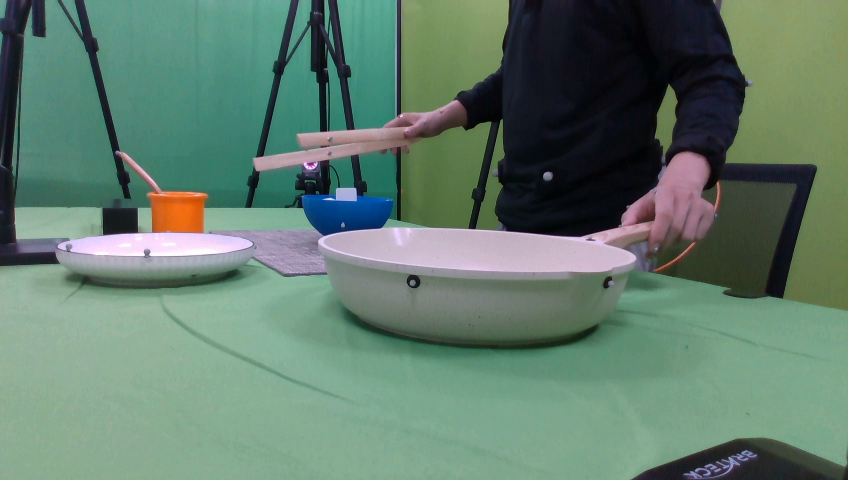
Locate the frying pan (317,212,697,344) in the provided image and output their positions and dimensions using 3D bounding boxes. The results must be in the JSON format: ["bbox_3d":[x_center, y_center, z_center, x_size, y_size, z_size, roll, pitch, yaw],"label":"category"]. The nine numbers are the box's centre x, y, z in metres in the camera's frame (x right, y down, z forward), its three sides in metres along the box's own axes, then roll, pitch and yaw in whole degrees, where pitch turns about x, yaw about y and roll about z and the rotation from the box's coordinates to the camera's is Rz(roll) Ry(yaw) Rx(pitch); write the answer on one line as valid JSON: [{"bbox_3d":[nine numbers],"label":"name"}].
[{"bbox_3d":[0.133,0.013,0.629,0.490,0.102,0.305,-12,14,-31],"label":"frying pan"}]

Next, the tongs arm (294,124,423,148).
[{"bbox_3d":[-0.108,-0.202,1.167,0.028,0.028,0.389,-23,-2,35],"label":"tongs arm"}]

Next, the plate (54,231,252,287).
[{"bbox_3d":[-0.309,0.020,0.705,0.208,0.039,0.207,2,7,0],"label":"plate"}]

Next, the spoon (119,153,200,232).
[{"bbox_3d":[-0.439,-0.077,1.000,0.021,0.193,0.042,-43,-7,21],"label":"spoon"}]

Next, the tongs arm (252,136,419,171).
[{"bbox_3d":[-0.162,-0.187,1.219,0.387,0.026,0.050,-18,0,-43],"label":"tongs arm"}]

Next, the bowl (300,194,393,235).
[{"bbox_3d":[-0.128,-0.034,0.995,0.151,0.077,0.151,2,7,0],"label":"bowl"}]
